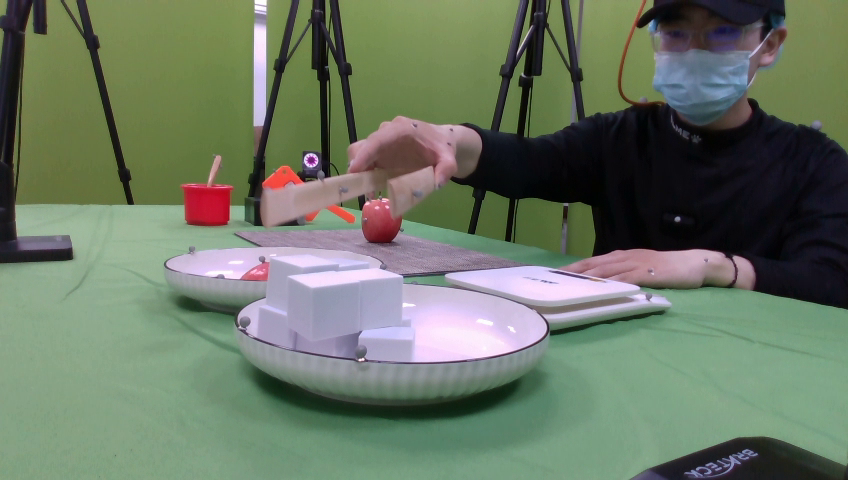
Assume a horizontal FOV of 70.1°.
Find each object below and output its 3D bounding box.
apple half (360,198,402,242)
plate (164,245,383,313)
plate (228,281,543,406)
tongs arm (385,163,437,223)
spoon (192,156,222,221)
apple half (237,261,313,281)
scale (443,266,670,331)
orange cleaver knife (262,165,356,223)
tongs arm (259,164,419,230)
[{"bbox_3d":[-0.066,-0.032,1.014,0.053,0.074,0.081,9,6,21],"label":"apple half"},{"bbox_3d":[-0.145,0.038,0.600,0.209,0.038,0.209,2,8,0],"label":"plate"},{"bbox_3d":[-0.025,0.067,0.413,0.208,0.039,0.207,3,7,0],"label":"plate"},{"bbox_3d":[-0.009,-0.054,0.578,0.028,0.028,0.387,-9,9,6],"label":"tongs arm"},{"bbox_3d":[-0.430,-0.108,1.222,0.041,0.021,0.193,-2,52,1],"label":"spoon"},{"bbox_3d":[-0.141,0.035,0.578,0.081,0.033,0.081,2,11,0],"label":"apple half"},{"bbox_3d":[0.131,0.052,0.603,0.202,0.031,0.148,-2,9,-37],"label":"scale"},{"bbox_3d":[-0.243,-0.081,1.292,0.212,0.077,0.012,34,-8,-26],"label":"orange cleaver knife"},{"bbox_3d":[-0.057,-0.051,0.586,0.051,0.026,0.385,-5,9,9],"label":"tongs arm"}]
